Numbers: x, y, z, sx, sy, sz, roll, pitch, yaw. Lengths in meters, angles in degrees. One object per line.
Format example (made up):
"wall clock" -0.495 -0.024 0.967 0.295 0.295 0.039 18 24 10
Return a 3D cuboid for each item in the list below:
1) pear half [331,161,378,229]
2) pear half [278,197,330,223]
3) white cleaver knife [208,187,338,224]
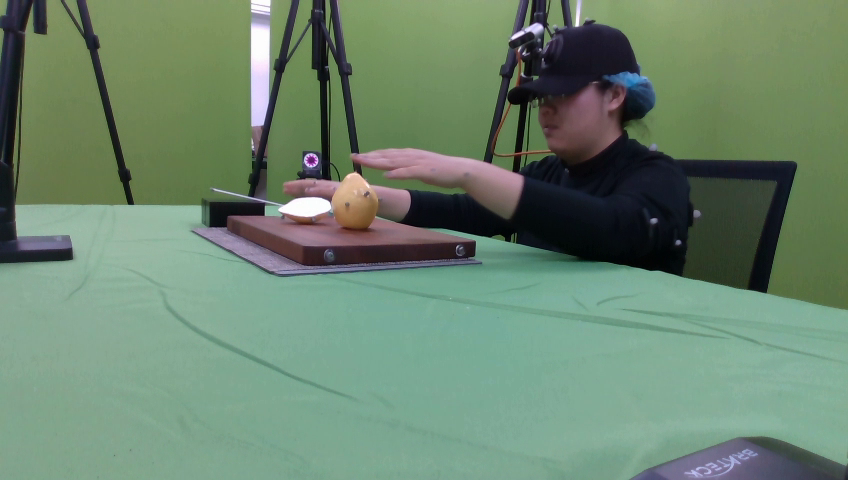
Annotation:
"pear half" -0.106 -0.072 0.971 0.077 0.110 0.055 -9 13 -40
"pear half" -0.204 -0.047 1.033 0.088 0.031 0.070 -13 27 -17
"white cleaver knife" -0.286 -0.073 1.222 0.288 0.021 0.065 15 3 -28
